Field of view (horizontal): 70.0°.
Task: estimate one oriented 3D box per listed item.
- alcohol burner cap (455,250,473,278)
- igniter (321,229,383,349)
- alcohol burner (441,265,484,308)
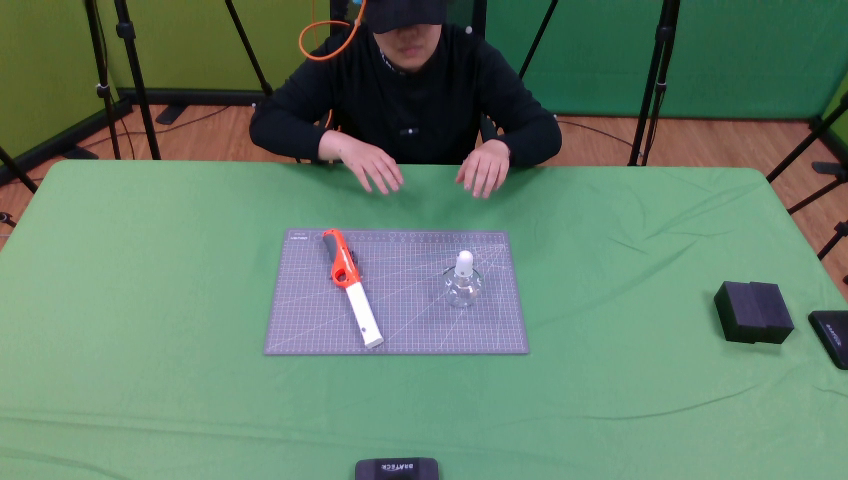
[{"bbox_3d":[0.070,0.040,1.048,0.034,0.048,0.033,1,43,-1],"label":"alcohol burner cap"},{"bbox_3d":[-0.134,0.078,1.102,0.057,0.025,0.274,-28,53,0],"label":"igniter"},{"bbox_3d":[0.069,0.064,1.075,0.078,0.120,0.077,1,45,-1],"label":"alcohol burner"}]
